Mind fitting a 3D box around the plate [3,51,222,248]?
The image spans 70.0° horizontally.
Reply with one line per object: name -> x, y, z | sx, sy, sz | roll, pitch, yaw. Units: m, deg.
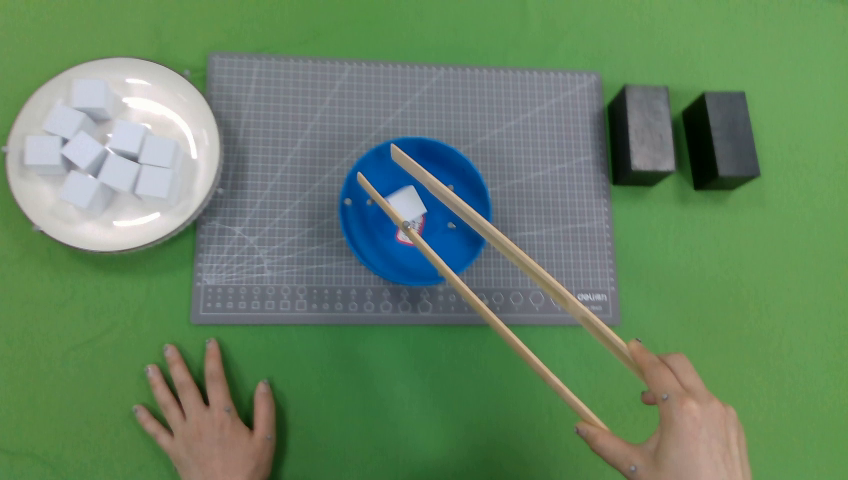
plate -> -0.310, -0.091, 0.620 | 0.208, 0.039, 0.206 | 1, 78, -5

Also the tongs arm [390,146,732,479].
tongs arm -> 0.098, 0.046, 0.509 | 0.028, 0.028, 0.385 | -38, 70, -22

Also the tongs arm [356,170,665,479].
tongs arm -> 0.078, 0.062, 0.501 | 0.051, 0.027, 0.382 | -36, 69, -18

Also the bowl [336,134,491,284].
bowl -> -0.013, -0.024, 0.618 | 0.152, 0.077, 0.150 | 2, 77, -7
